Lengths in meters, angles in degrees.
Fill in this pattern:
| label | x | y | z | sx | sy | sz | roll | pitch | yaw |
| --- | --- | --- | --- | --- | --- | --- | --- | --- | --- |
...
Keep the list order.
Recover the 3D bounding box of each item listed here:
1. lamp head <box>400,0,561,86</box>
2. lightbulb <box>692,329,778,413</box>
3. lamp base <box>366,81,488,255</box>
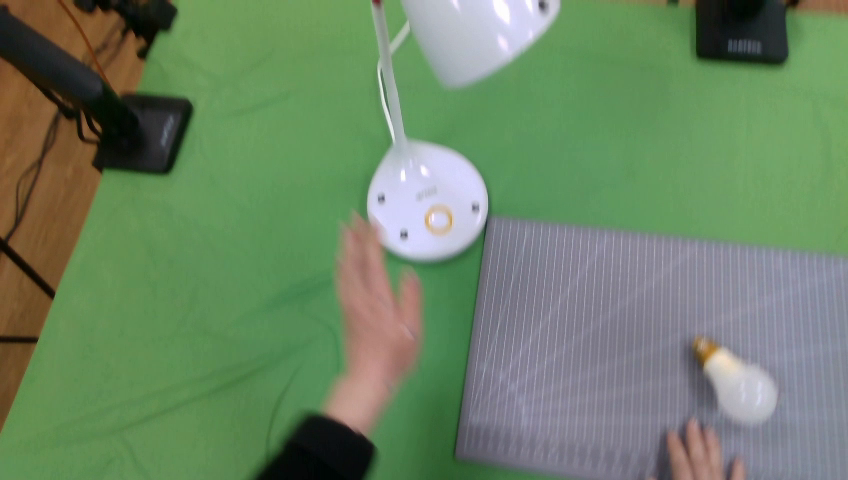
| label | x | y | z | sx | sy | sz | roll | pitch | yaw |
| --- | --- | --- | --- | --- | --- | --- | --- | --- | --- |
| lamp head | 0.025 | -0.197 | 0.459 | 0.112 | 0.111 | 0.124 | -48 | 113 | -14 |
| lightbulb | 0.339 | 0.141 | 0.672 | 0.059 | 0.060 | 0.106 | -29 | 53 | -7 |
| lamp base | -0.009 | -0.093 | 0.726 | 0.160 | 0.181 | 0.177 | -32 | 66 | -9 |
